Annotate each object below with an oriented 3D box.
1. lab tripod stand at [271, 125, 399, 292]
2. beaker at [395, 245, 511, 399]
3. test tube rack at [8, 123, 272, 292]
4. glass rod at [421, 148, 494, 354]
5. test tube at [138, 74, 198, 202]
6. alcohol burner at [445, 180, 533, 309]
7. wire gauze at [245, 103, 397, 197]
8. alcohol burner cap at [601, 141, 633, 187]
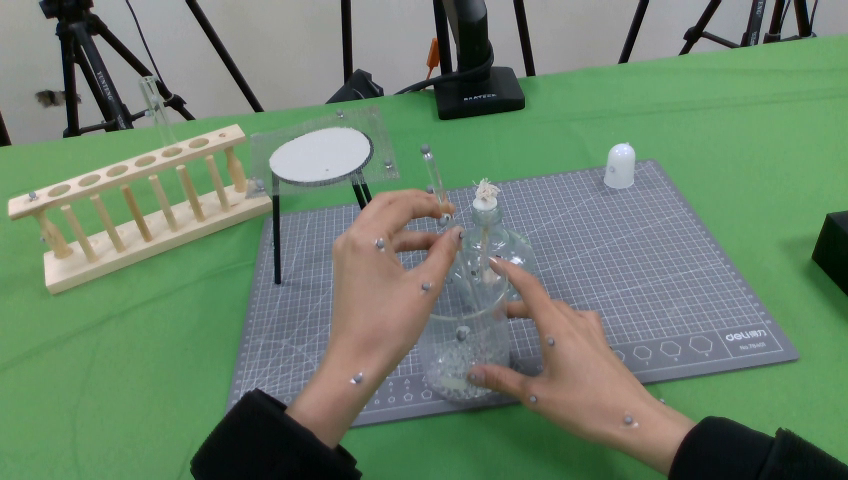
[{"bbox_3d":[-0.084,-0.027,0.563,0.148,0.133,0.147,-5,41,5],"label":"lab tripod stand"},{"bbox_3d":[0.025,0.066,0.459,0.084,0.101,0.073,-3,39,8],"label":"beaker"},{"bbox_3d":[-0.300,-0.040,0.660,0.243,0.086,0.066,-24,42,-18],"label":"test tube rack"},{"bbox_3d":[0.027,0.019,0.427,0.008,0.202,0.008,-12,40,10],"label":"glass rod"},{"bbox_3d":[-0.275,-0.106,0.657,0.017,0.151,0.017,-4,37,4],"label":"test tube"},{"bbox_3d":[0.055,0.001,0.521,0.078,0.120,0.077,-5,38,4],"label":"alcohol burner"},{"bbox_3d":[-0.092,-0.078,0.521,0.125,0.011,0.120,-12,39,-4],"label":"wire gauze"},{"bbox_3d":[0.210,-0.085,0.655,0.034,0.048,0.033,-5,39,4],"label":"alcohol burner cap"}]
